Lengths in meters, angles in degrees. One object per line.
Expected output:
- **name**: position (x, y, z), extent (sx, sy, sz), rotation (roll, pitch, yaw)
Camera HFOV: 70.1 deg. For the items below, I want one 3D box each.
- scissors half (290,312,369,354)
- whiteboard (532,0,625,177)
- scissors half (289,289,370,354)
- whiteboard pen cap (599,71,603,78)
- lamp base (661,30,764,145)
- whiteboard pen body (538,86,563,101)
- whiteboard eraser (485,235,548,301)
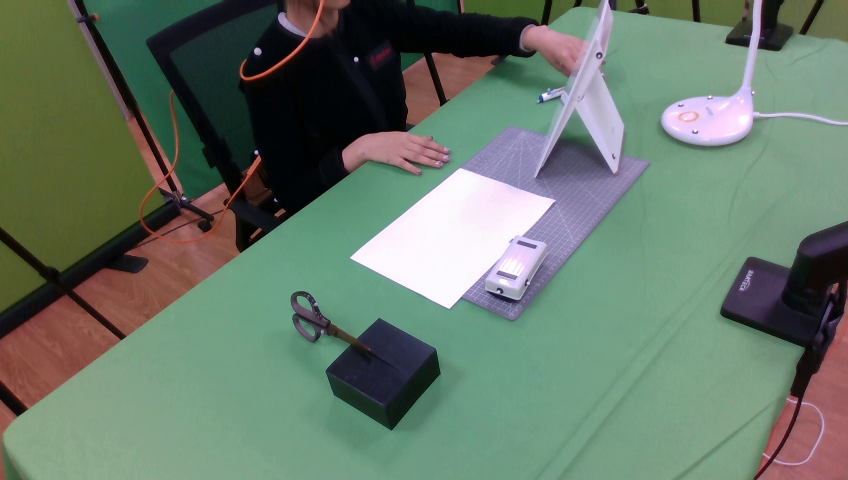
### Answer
- **scissors half**: position (-0.128, 0.129, 0.816), extent (0.013, 0.040, 0.173), rotation (-23, 22, -40)
- **whiteboard**: position (0.320, -0.259, 1.050), extent (0.144, 0.306, 0.217), rotation (21, 45, 5)
- **scissors half**: position (-0.128, 0.110, 0.808), extent (0.013, 0.040, 0.173), rotation (-17, 36, -43)
- **whiteboard pen cap**: position (0.368, -0.351, 1.305), extent (0.033, 0.018, 0.018), rotation (-24, 41, -2)
- **lamp base**: position (0.535, -0.287, 1.096), extent (0.179, 0.181, 0.159), rotation (-10, 40, -4)
- **whiteboard pen body**: position (0.312, -0.329, 1.301), extent (0.141, 0.017, 0.017), rotation (-21, 41, -3)
- **whiteboard eraser**: position (0.137, 0.042, 0.887), extent (0.055, 0.042, 0.113), rotation (15, 46, 27)
